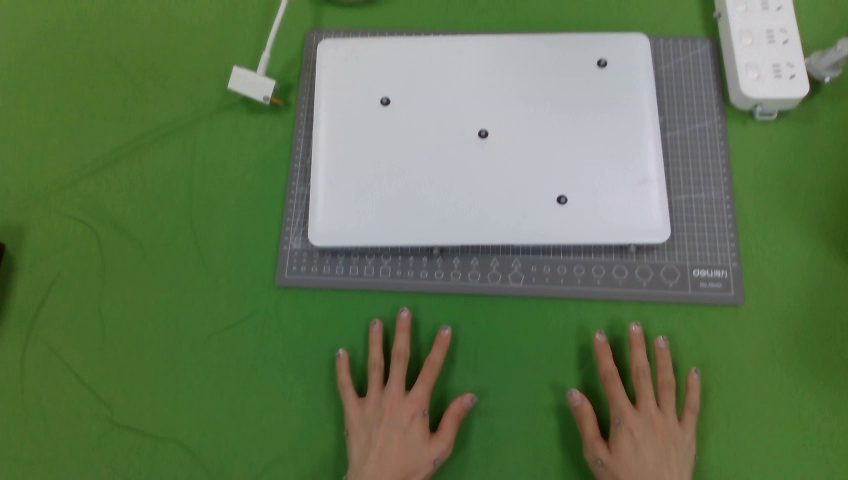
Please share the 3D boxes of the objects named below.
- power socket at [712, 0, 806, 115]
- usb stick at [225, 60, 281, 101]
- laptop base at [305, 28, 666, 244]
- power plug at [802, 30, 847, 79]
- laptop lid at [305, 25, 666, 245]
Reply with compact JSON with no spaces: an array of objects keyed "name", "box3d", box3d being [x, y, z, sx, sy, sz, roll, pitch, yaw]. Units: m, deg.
[{"name":"power socket","box3d":[0.352,-0.243,0.648,0.072,0.033,0.225,1,73,1]},{"name":"usb stick","box3d":[-0.177,-0.166,0.640,0.059,0.021,0.027,23,104,-16]},{"name":"laptop base","box3d":[0.059,-0.109,0.625,0.354,0.023,0.234,-1,77,2]},{"name":"power plug","box3d":[0.424,-0.190,0.627,0.073,0.053,0.035,-14,69,-19]},{"name":"laptop lid","box3d":[0.058,-0.111,0.613,0.357,0.013,0.240,1,76,2]}]
